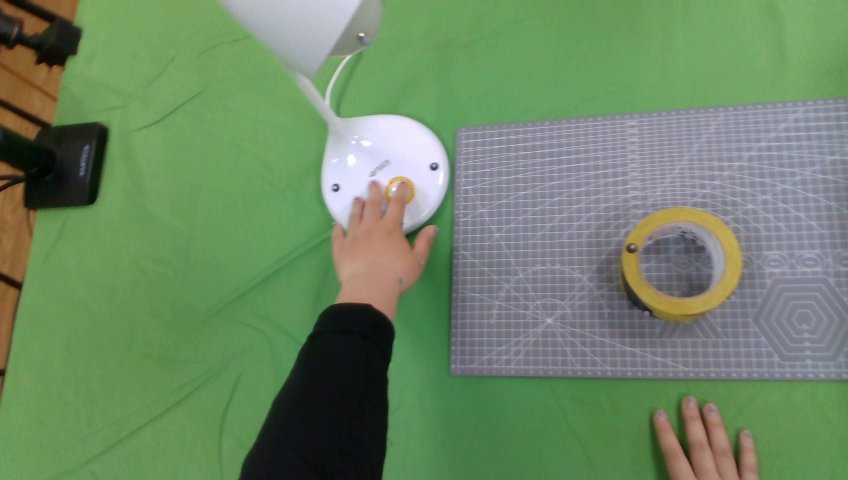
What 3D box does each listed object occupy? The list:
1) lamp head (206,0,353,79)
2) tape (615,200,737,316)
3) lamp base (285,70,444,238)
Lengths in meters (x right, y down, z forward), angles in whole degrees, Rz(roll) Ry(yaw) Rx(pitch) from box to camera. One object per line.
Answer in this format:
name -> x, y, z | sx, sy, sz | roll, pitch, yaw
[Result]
lamp head -> -0.100, -0.179, 0.380 | 0.123, 0.112, 0.112 | 28, 82, -15
tape -> 0.255, 0.019, 0.623 | 0.116, 0.053, 0.116 | -3, 75, 12
lamp base -> -0.082, -0.106, 0.670 | 0.178, 0.181, 0.160 | 38, 86, 22
